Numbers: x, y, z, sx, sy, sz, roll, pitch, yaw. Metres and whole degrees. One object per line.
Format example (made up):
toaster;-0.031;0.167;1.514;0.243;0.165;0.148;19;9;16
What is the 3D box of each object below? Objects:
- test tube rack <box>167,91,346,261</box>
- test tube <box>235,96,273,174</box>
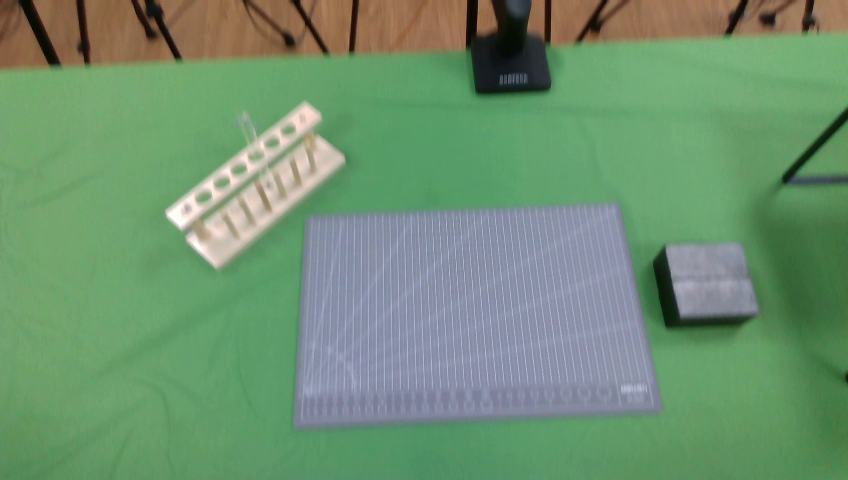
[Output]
test tube rack;-0.221;-0.089;0.833;0.066;0.086;0.242;40;71;17
test tube;-0.222;-0.134;0.800;0.017;0.151;0.017;0;61;0
